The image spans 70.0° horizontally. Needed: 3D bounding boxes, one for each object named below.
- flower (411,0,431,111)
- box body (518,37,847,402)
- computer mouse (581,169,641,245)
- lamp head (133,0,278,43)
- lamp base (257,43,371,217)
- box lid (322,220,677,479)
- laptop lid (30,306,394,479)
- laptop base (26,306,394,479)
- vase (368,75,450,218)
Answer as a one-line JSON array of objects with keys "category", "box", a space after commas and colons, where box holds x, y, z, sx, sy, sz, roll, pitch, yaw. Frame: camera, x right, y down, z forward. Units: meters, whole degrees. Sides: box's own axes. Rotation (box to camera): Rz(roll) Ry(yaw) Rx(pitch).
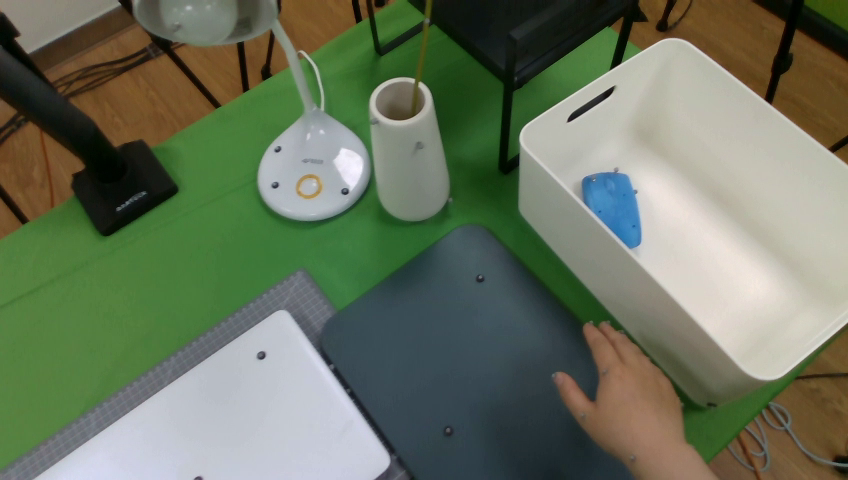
[{"category": "flower", "box": [-0.010, -0.160, 0.682, 0.038, 0.364, 0.043, -20, 52, -25]}, {"category": "box body", "box": [0.308, -0.027, 0.705, 0.254, 0.162, 0.361, -33, 65, -13]}, {"category": "computer mouse", "box": [0.242, -0.045, 0.783, 0.063, 0.041, 0.116, -2, 59, 5]}, {"category": "lamp head", "box": [-0.183, -0.238, 0.500, 0.112, 0.113, 0.122, -8, 80, 0]}, {"category": "lamp base", "box": [-0.161, -0.149, 0.791, 0.160, 0.182, 0.177, -5, 59, 1]}, {"category": "box lid", "box": [0.076, 0.158, 0.708, 0.263, 0.015, 0.368, -36, 66, -15]}, {"category": "laptop lid", "box": [-0.238, 0.255, 0.661, 0.357, 0.013, 0.239, -34, 68, -13]}, {"category": "laptop base", "box": [-0.239, 0.259, 0.671, 0.354, 0.023, 0.234, -36, 70, -14]}, {"category": "vase", "box": [-0.020, -0.110, 0.750, 0.098, 0.202, 0.097, -3, 61, 5]}]
